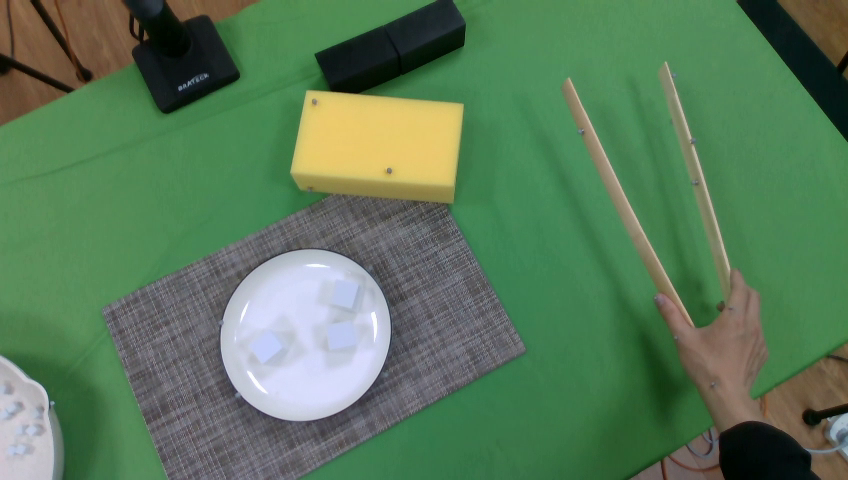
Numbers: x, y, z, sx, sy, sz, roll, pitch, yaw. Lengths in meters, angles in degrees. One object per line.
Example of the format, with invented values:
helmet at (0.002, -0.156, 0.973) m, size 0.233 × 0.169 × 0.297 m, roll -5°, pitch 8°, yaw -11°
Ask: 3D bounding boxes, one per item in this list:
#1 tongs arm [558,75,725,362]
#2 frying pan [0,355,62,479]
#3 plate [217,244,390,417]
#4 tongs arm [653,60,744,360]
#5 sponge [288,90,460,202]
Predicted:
tongs arm at (0.251, -0.031, 0.729) m, size 0.028 × 0.028 × 0.385 m, roll -19°, pitch 78°, yaw -20°
frying pan at (-0.492, 0.340, 0.653) m, size 0.307 × 0.103 × 0.484 m, roll -35°, pitch 69°, yaw -8°
plate at (-0.144, 0.109, 0.741) m, size 0.208 × 0.039 × 0.206 m, roll 0°, pitch 75°, yaw 1°
tongs arm at (0.324, -0.047, 0.746) m, size 0.051 × 0.026 × 0.382 m, roll -8°, pitch 75°, yaw -14°
sponge at (-0.061, -0.122, 0.790) m, size 0.207 × 0.061 × 0.117 m, roll 5°, pitch 73°, yaw 3°
